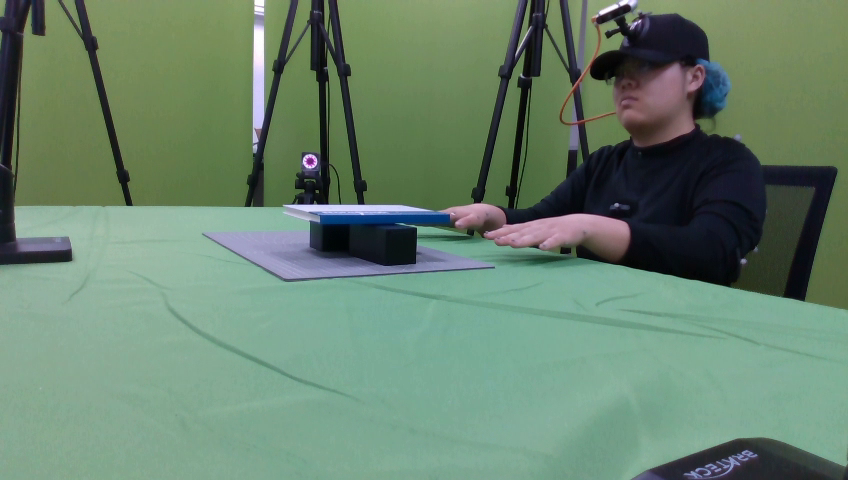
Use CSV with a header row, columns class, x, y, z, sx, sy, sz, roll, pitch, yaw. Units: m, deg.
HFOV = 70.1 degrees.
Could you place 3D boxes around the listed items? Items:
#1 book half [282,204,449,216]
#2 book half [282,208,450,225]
class,x,y,z,sx,sy,sz,roll,pitch,yaw
book half,-0.088,-0.045,0.907,0.211,0.007,0.142,-2,9,-32
book half,-0.086,-0.037,0.905,0.211,0.016,0.148,-1,9,-32
